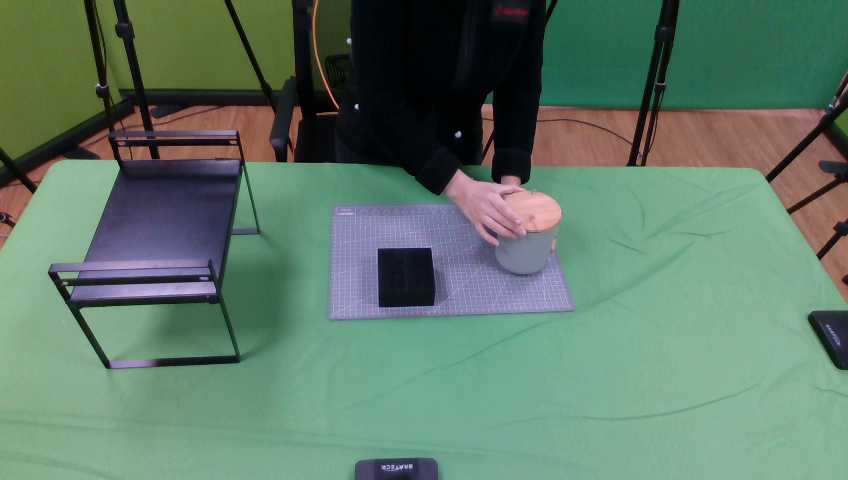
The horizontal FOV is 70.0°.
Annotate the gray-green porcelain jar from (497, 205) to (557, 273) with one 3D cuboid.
[{"bbox_3d":[0.192,-0.008,1.144,0.106,0.127,0.105,0,47,1],"label":"gray-green porcelain jar"}]

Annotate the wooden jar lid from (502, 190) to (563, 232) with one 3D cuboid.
[{"bbox_3d":[0.195,-0.050,1.095,0.108,0.021,0.107,1,44,-1],"label":"wooden jar lid"}]
